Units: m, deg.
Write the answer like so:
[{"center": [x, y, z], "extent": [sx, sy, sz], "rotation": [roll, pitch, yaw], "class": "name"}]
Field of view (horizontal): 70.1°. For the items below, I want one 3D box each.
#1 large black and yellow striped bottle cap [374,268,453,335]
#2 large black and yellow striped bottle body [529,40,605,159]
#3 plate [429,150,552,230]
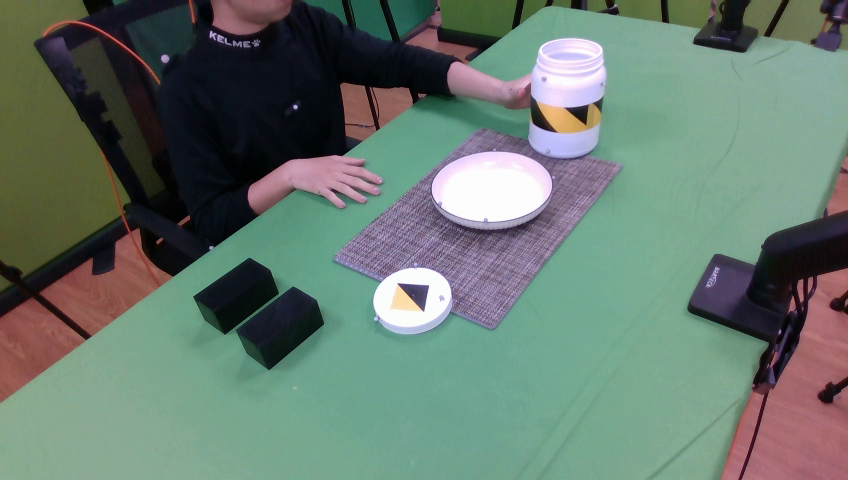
[{"center": [-0.015, 0.087, 0.871], "extent": [0.115, 0.019, 0.114], "rotation": [-6, 43, 6], "class": "large black and yellow striped bottle cap"}, {"center": [0.259, -0.257, 1.103], "extent": [0.131, 0.185, 0.130], "rotation": [-3, 38, 3], "class": "large black and yellow striped bottle body"}, {"center": [0.113, -0.082, 1.032], "extent": [0.207, 0.039, 0.206], "rotation": [-4, 41, 4], "class": "plate"}]
